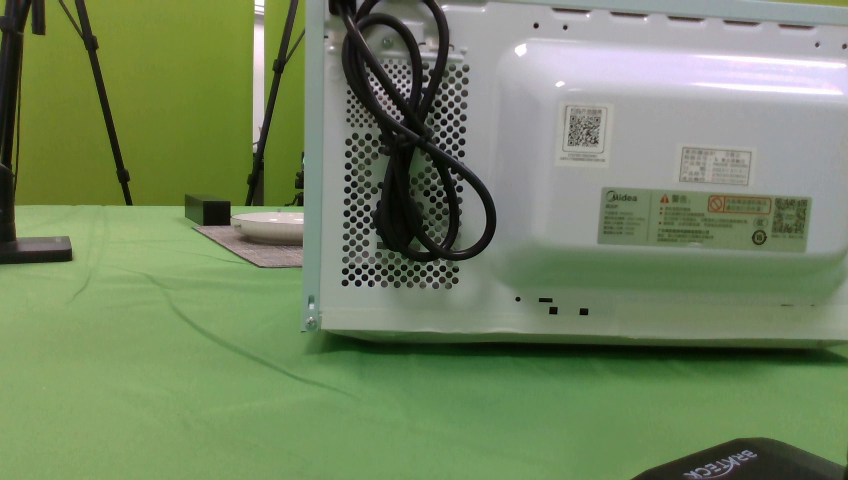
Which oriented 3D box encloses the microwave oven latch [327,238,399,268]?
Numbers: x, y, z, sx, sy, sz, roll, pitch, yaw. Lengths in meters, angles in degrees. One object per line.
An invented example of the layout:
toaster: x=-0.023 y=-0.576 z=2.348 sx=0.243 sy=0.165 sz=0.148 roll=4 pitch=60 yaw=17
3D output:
microwave oven latch: x=-0.069 y=0.015 z=0.694 sx=0.079 sy=0.029 sz=0.030 roll=3 pitch=7 yaw=-3

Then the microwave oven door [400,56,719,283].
microwave oven door: x=0.155 y=-0.077 z=0.697 sx=0.356 sy=0.243 sz=0.039 roll=2 pitch=8 yaw=-5

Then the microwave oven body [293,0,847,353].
microwave oven body: x=0.122 y=-0.055 z=0.550 sx=0.442 sy=0.260 sz=0.325 roll=3 pitch=7 yaw=-5

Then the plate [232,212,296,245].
plate: x=-0.214 y=-0.019 z=1.018 sx=0.208 sy=0.039 sz=0.207 roll=2 pitch=7 yaw=0

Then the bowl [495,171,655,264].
bowl: x=0.144 y=-0.023 z=0.592 sx=0.151 sy=0.077 sz=0.151 roll=1 pitch=11 yaw=0
